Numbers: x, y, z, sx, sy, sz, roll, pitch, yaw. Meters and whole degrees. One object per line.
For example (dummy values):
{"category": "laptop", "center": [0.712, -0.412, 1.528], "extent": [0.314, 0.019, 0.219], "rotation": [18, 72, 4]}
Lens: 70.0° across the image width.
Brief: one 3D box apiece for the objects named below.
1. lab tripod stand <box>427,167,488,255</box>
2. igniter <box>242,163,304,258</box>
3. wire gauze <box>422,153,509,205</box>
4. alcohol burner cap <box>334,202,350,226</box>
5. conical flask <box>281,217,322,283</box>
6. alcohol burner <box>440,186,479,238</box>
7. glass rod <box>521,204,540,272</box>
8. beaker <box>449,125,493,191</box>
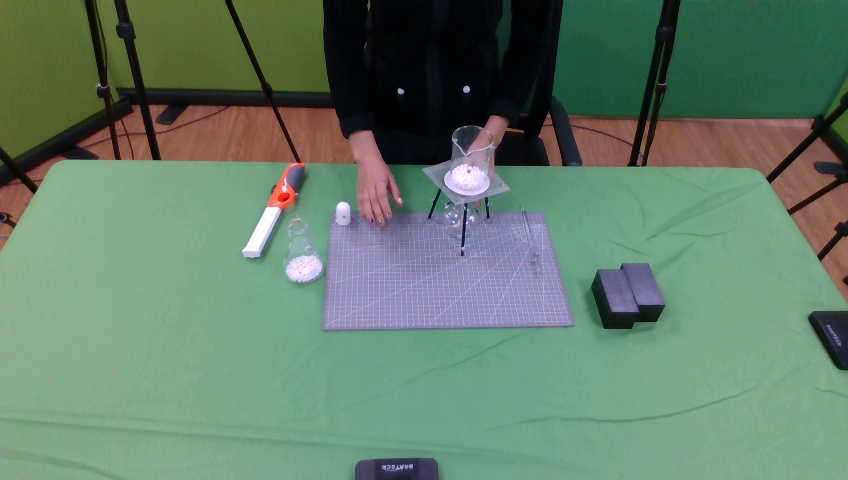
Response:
{"category": "lab tripod stand", "center": [0.076, -0.068, 1.191], "extent": [0.148, 0.132, 0.147], "rotation": [3, 44, -2]}
{"category": "igniter", "center": [-0.305, -0.069, 1.239], "extent": [0.057, 0.025, 0.275], "rotation": [2, 45, 12]}
{"category": "wire gauze", "center": [0.078, -0.114, 1.144], "extent": [0.125, 0.011, 0.120], "rotation": [-21, 49, -20]}
{"category": "alcohol burner cap", "center": [-0.166, -0.055, 1.222], "extent": [0.034, 0.048, 0.033], "rotation": [2, 46, -2]}
{"category": "conical flask", "center": [-0.225, 0.016, 1.097], "extent": [0.075, 0.122, 0.075], "rotation": [3, 46, -2]}
{"category": "alcohol burner", "center": [0.072, -0.062, 1.198], "extent": [0.078, 0.119, 0.077], "rotation": [3, 47, -3]}
{"category": "glass rod", "center": [0.215, -0.008, 1.230], "extent": [0.008, 0.008, 0.198], "rotation": [0, 43, -3]}
{"category": "beaker", "center": [0.083, -0.146, 1.108], "extent": [0.074, 0.101, 0.083], "rotation": [15, 47, 11]}
